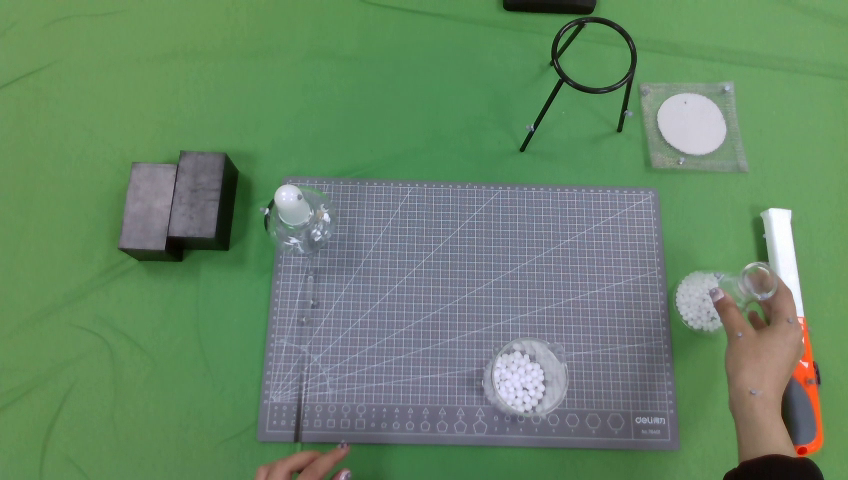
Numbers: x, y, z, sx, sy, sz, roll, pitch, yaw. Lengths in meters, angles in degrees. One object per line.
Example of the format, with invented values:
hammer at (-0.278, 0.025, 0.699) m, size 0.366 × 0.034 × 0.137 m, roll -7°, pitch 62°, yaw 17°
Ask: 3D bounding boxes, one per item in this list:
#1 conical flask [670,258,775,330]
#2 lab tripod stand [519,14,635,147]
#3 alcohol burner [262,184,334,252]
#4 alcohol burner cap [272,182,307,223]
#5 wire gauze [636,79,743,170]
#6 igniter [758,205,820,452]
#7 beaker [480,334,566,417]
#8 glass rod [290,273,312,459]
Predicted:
conical flask at (0.319, 0.051, 0.640) m, size 0.075 × 0.122 × 0.075 m, roll 0°, pitch 74°, yaw -1°
lab tripod stand at (0.172, -0.177, 0.692) m, size 0.148 × 0.132 × 0.147 m, roll 0°, pitch 76°, yaw -2°
alcohol burner at (-0.138, -0.029, 0.649) m, size 0.078 × 0.119 × 0.077 m, roll 0°, pitch 75°, yaw 1°
alcohol burner cap at (-0.138, -0.041, 0.615) m, size 0.034 × 0.048 × 0.033 m, roll 1°, pitch 67°, yaw -3°
wire gauze at (0.331, -0.146, 0.753) m, size 0.125 × 0.011 × 0.121 m, roll 1°, pitch 75°, yaw -3°
igniter at (0.408, 0.094, 0.680) m, size 0.057 × 0.025 × 0.275 m, roll 5°, pitch 74°, yaw -12°
beaker at (0.099, 0.138, 0.619) m, size 0.084 × 0.101 × 0.073 m, roll -40°, pitch 79°, yaw -12°
glass rod at (-0.133, 0.134, 0.659) m, size 0.008 × 0.008 × 0.199 m, roll 3°, pitch 77°, yaw -1°
